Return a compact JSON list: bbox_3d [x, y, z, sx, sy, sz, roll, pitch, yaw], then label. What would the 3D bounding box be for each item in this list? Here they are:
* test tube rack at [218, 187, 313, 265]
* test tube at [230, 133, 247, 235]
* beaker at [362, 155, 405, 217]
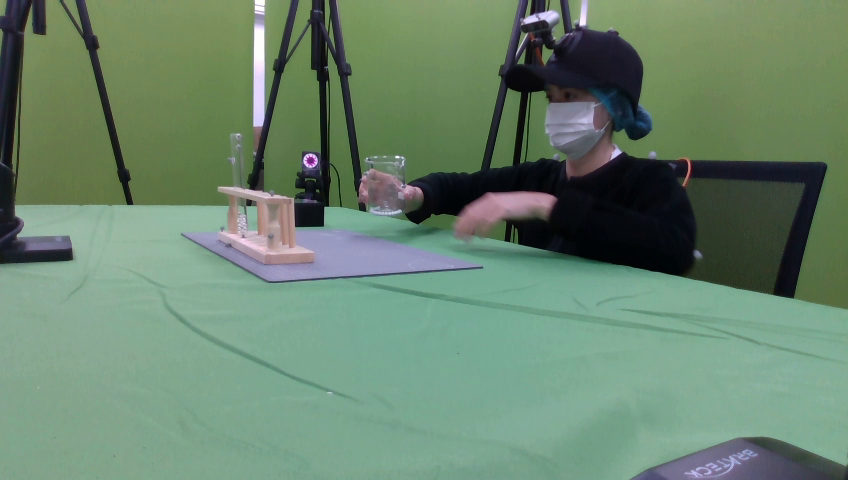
[{"bbox_3d":[-0.235,-0.027,0.872,0.067,0.085,0.241,-2,8,-32],"label":"test tube rack"},{"bbox_3d":[-0.273,-0.081,0.892,0.017,0.150,0.017,-1,9,0],"label":"test tube"},{"bbox_3d":[-0.068,-0.096,1.083,0.083,0.100,0.074,15,23,40],"label":"beaker"}]
